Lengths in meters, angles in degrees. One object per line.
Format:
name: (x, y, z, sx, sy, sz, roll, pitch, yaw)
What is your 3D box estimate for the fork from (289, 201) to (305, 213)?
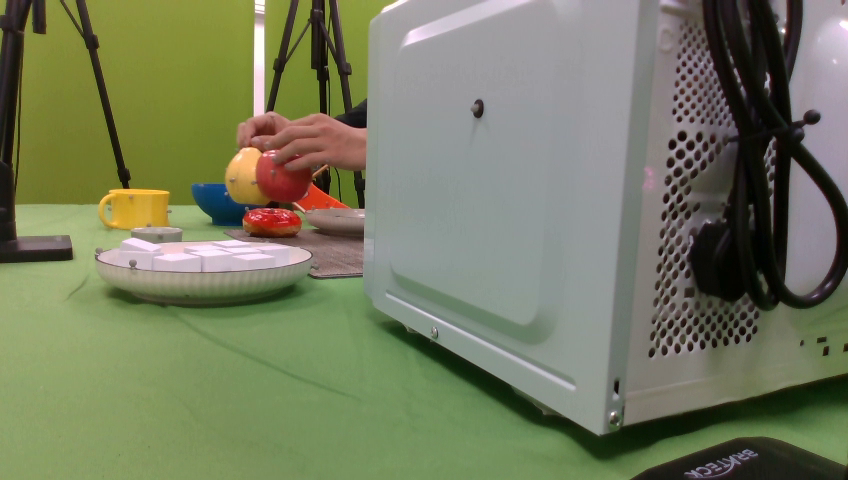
fork: (-0.294, -0.083, 1.293, 0.206, 0.018, 0.028, 29, 12, 26)

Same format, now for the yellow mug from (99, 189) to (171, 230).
yellow mug: (-0.519, -0.055, 1.080, 0.099, 0.064, 0.131, 7, 10, 26)

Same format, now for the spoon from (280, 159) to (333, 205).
spoon: (-0.316, -0.159, 1.639, 0.194, 0.022, 0.041, -49, 32, -20)

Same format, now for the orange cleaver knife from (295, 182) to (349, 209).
orange cleaver knife: (-0.237, -0.087, 1.357, 0.211, 0.077, 0.012, 32, 5, -2)

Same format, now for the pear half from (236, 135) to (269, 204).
pear half: (-0.264, -0.112, 0.960, 0.056, 0.109, 0.076, 2, 7, -7)

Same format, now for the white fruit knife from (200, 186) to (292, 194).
white fruit knife: (-0.399, -0.111, 1.368, 0.208, 0.016, 0.027, -4, -19, -29)

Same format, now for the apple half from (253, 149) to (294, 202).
apple half: (-0.220, -0.095, 0.878, 0.053, 0.074, 0.080, -1, 18, -21)

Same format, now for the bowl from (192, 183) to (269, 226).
bowl: (-0.381, -0.071, 1.202, 0.151, 0.077, 0.151, 3, 7, 0)

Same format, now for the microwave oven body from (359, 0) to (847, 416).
microwave oven body: (0.211, -0.047, 0.474, 0.444, 0.260, 0.324, -1, 7, -28)

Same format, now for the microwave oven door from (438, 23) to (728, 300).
microwave oven door: (0.181, -0.073, 0.621, 0.358, 0.243, 0.039, -2, 8, -29)

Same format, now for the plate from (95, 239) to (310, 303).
plate: (-0.224, 0.031, 0.629, 0.208, 0.039, 0.207, 2, 8, 0)

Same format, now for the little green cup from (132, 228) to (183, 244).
little green cup: (-0.342, 0.006, 0.779, 0.061, 0.038, 0.061, 2, 8, 0)

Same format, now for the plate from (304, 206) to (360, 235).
plate: (-0.123, -0.037, 1.149, 0.209, 0.038, 0.209, 2, 8, 0)

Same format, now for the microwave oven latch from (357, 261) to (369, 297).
microwave oven latch: (-0.019, 0.033, 0.530, 0.079, 0.029, 0.030, -1, 7, -26)

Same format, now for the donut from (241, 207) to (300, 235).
donut: (-0.263, -0.031, 1.039, 0.099, 0.048, 0.099, 4, 10, 0)

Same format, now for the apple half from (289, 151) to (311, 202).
apple half: (-0.184, -0.094, 0.893, 0.033, 0.081, 0.081, -1, 8, -22)

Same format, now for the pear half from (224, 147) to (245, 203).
pear half: (-0.299, -0.103, 0.958, 0.031, 0.088, 0.070, 2, 8, -7)
